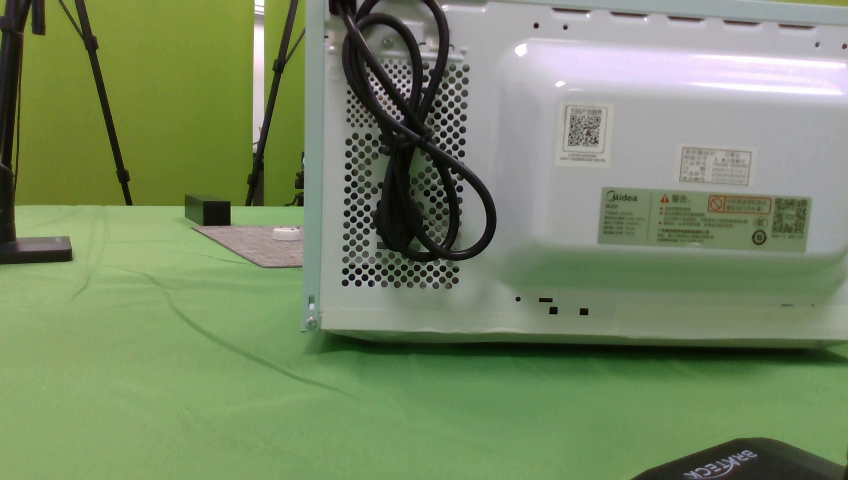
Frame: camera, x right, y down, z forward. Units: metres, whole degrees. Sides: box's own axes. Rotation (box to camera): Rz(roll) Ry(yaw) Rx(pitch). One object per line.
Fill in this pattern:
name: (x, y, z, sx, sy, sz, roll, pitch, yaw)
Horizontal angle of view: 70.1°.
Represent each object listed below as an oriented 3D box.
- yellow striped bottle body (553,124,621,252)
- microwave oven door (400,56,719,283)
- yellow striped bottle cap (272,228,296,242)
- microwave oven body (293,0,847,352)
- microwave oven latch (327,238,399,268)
yellow striped bottle body: (0.158, -0.050, 0.587, 0.063, 0.120, 0.063, 0, 5, 0)
microwave oven door: (0.155, -0.077, 0.698, 0.356, 0.243, 0.039, 2, 8, -5)
yellow striped bottle cap: (-0.232, -0.008, 1.012, 0.044, 0.018, 0.044, 4, 8, 0)
microwave oven body: (0.122, -0.055, 0.550, 0.442, 0.260, 0.325, 3, 7, -5)
microwave oven latch: (-0.069, 0.015, 0.694, 0.079, 0.029, 0.030, 3, 7, -3)
